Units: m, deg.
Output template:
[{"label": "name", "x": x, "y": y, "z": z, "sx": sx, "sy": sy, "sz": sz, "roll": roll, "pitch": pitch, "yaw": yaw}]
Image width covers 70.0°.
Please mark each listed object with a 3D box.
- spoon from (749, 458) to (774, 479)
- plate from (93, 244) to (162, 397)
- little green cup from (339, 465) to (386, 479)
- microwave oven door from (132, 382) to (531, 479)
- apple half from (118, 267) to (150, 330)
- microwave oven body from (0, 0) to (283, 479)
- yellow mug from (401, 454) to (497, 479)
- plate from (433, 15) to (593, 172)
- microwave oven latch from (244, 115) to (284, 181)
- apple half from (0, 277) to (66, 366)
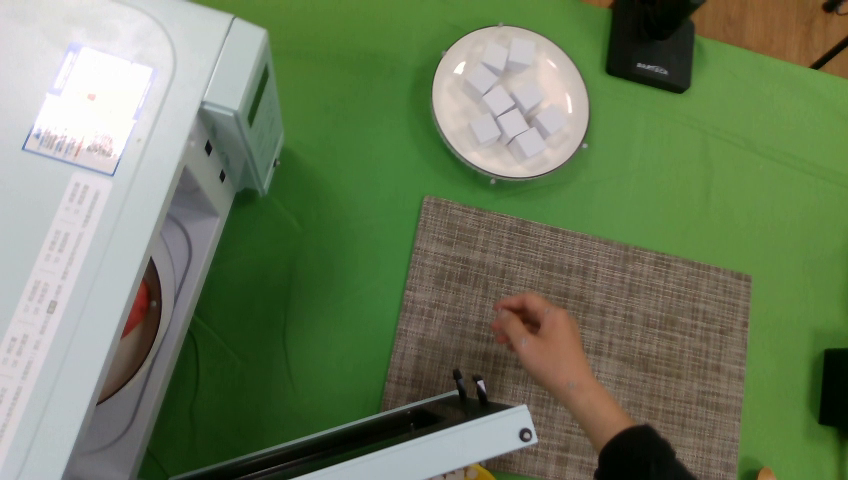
[{"label": "spoon", "x": 0.457, "y": 0.353, "z": 0.747, "sx": 0.041, "sy": 0.021, "sz": 0.193, "roll": -33, "pitch": 87, "yaw": -32}, {"label": "plate", "x": -0.358, "y": 0.058, "z": 0.579, "sx": 0.210, "sy": 0.038, "sz": 0.208, "roll": 2, "pitch": 79, "yaw": -10}, {"label": "little green cup", "x": -0.068, "y": 0.275, "z": 0.656, "sx": 0.062, "sy": 0.038, "sz": 0.061, "roll": 2, "pitch": 78, "yaw": -9}, {"label": "microwave oven door", "x": -0.107, "y": 0.198, "z": 0.540, "sx": 0.356, "sy": 0.244, "sz": 0.039, "roll": -14, "pitch": 81, "yaw": -13}, {"label": "apple half", "x": -0.310, "y": 0.050, "z": 0.583, "sx": 0.081, "sy": 0.033, "sz": 0.081, "roll": 1, "pitch": 79, "yaw": -7}, {"label": "microwave oven body", "x": -0.352, "y": -0.004, "z": 0.536, "sx": 0.327, "sy": 0.260, "sz": 0.440, "roll": 17, "pitch": 78, "yaw": -8}, {"label": "yellow mug", "x": 0.021, "y": 0.290, "z": 0.655, "sx": 0.100, "sy": 0.064, "sz": 0.130, "roll": 24, "pitch": 79, "yaw": -6}, {"label": "plate", "x": 0.111, "y": -0.183, "z": 0.773, "sx": 0.208, "sy": 0.039, "sz": 0.206, "roll": 2, "pitch": 79, "yaw": -10}, {"label": "microwave oven latch", "x": -0.182, "y": -0.110, "z": 0.686, "sx": 0.030, "sy": 0.029, "sz": 0.079, "roll": 19, "pitch": 78, "yaw": -7}, {"label": "apple half", "x": -0.379, "y": 0.077, "z": 0.550, "sx": 0.081, "sy": 0.053, "sz": 0.074, "roll": 29, "pitch": 87, "yaw": -17}]
